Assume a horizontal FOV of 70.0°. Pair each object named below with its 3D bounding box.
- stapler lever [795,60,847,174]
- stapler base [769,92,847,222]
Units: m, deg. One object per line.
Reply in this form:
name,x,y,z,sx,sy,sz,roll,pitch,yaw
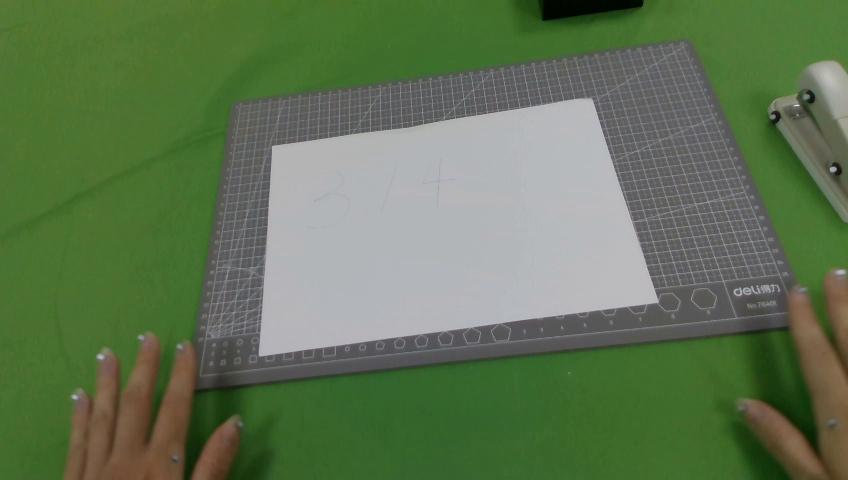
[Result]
stapler lever,0.321,-0.087,0.458,0.027,0.040,0.117,-15,59,3
stapler base,0.324,-0.075,0.481,0.041,0.024,0.129,-15,59,3
